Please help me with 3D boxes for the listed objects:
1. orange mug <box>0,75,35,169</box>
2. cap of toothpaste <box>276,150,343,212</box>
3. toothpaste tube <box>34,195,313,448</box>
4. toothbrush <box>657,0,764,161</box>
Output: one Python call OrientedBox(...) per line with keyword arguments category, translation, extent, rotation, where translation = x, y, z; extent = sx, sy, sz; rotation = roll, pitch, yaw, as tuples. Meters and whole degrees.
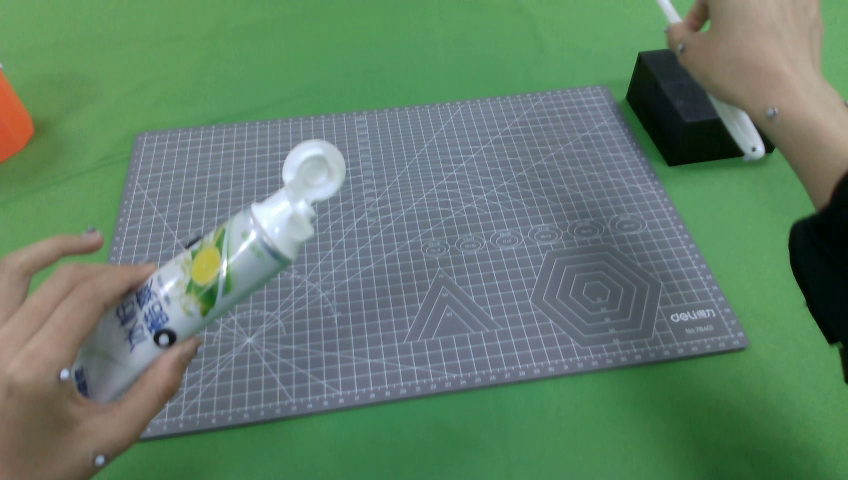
OrientedBox(category="orange mug", translation=(-0.417, -0.108, 0.514), extent=(0.083, 0.102, 0.126), rotation=(26, 51, 21))
OrientedBox(category="cap of toothpaste", translation=(-0.060, -0.030, 0.320), extent=(0.037, 0.037, 0.011), rotation=(-23, 33, -17))
OrientedBox(category="toothpaste tube", translation=(-0.125, 0.032, 0.305), extent=(0.165, 0.035, 0.054), rotation=(-37, 59, -1))
OrientedBox(category="toothbrush", translation=(0.189, -0.135, 0.428), extent=(0.017, 0.014, 0.181), rotation=(-5, 67, -55))
